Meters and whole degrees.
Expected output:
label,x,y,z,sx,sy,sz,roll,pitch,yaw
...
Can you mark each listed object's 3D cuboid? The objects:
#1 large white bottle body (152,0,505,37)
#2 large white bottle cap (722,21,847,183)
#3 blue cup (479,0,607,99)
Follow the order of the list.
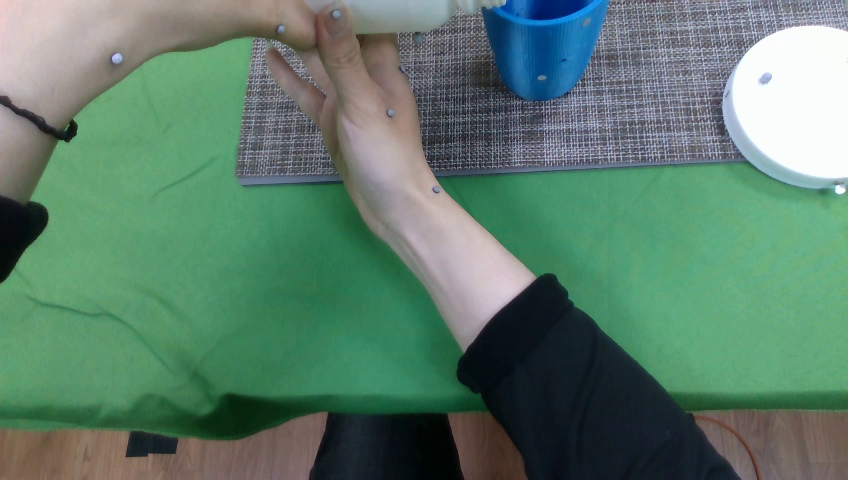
label,x,y,z,sx,sy,sz,roll,pitch,yaw
large white bottle body,-0.049,-0.179,0.320,0.184,0.131,0.130,1,71,10
large white bottle cap,0.262,-0.094,0.407,0.115,0.018,0.114,-1,74,4
blue cup,0.078,-0.147,0.404,0.092,0.101,0.092,-3,69,8
